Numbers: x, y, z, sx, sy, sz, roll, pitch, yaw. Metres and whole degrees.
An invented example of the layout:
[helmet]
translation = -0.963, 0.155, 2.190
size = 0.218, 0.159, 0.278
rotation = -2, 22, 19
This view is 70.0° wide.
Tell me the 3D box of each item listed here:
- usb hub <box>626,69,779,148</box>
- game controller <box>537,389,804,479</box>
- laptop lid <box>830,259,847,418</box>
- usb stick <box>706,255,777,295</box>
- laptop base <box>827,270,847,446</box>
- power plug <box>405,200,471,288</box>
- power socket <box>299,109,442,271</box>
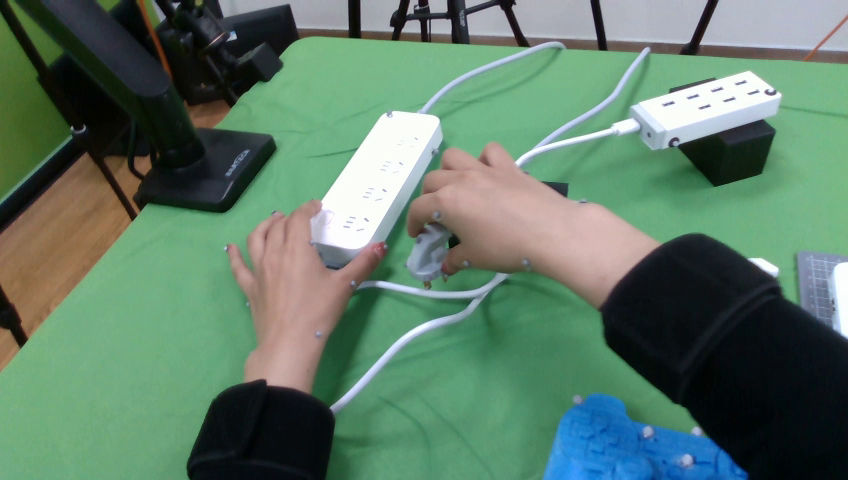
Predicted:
[usb hub]
translation = 0.255, -0.121, 0.559
size = 0.125, 0.025, 0.049
rotation = -17, 47, -6
[game controller]
translation = 0.150, 0.147, 0.371
size = 0.154, 0.052, 0.096
rotation = 10, 44, 17
[laptop lid]
translation = 0.443, 0.124, 0.348
size = 0.355, 0.013, 0.240
rotation = 10, 51, 18
[usb stick]
translation = 0.254, 0.027, 0.477
size = 0.059, 0.027, 0.021
rotation = 1, 23, -21
[laptop base]
translation = 0.445, 0.130, 0.359
size = 0.353, 0.023, 0.234
rotation = 9, 52, 17
[power plug]
translation = 0.018, 0.008, 0.496
size = 0.072, 0.053, 0.035
rotation = -27, 42, -13
[power socket]
translation = -0.048, -0.061, 0.612
size = 0.072, 0.033, 0.225
rotation = 12, 49, 19
